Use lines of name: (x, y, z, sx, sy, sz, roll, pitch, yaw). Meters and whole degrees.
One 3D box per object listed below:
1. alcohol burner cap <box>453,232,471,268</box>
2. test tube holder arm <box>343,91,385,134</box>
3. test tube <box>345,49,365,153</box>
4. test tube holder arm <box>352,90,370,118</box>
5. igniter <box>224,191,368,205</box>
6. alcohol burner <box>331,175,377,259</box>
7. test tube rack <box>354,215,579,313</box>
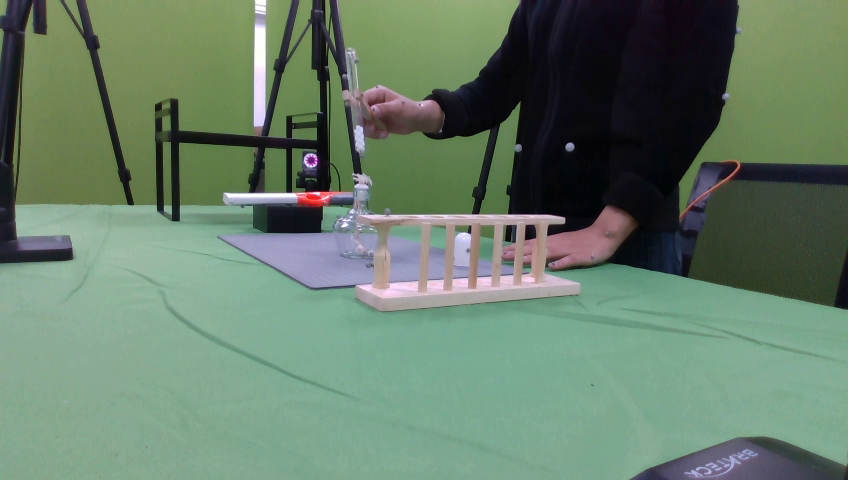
alcohol burner cap: (0.053, 0.013, 0.822, 0.034, 0.048, 0.034, 2, 5, 0)
test tube holder arm: (-0.088, -0.190, 0.915, 0.013, 0.015, 0.179, -2, -6, 11)
test tube: (-0.097, -0.195, 0.848, 0.017, 0.150, 0.017, -6, -6, 0)
test tube holder arm: (-0.090, -0.194, 0.870, 0.010, 0.015, 0.088, -1, -6, 4)
igniter: (-0.237, -0.079, 1.157, 0.278, 0.025, 0.057, -2, 21, -31)
alcohol burner: (-0.091, -0.033, 0.855, 0.078, 0.119, 0.078, 4, 7, 0)
test tube rack: (0.053, 0.019, 0.635, 0.244, 0.085, 0.066, -1, 8, -29)
